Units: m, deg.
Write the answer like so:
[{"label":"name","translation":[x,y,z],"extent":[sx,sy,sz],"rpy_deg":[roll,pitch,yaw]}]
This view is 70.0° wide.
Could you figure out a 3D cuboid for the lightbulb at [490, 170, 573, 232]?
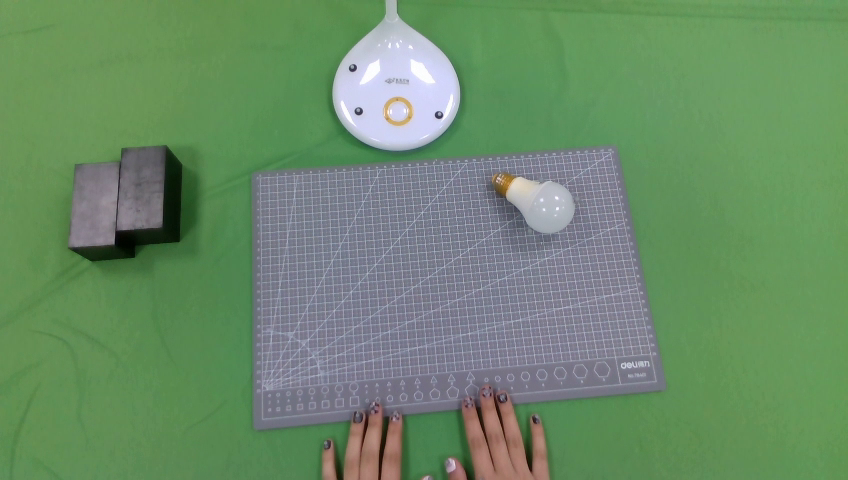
[{"label":"lightbulb","translation":[0.123,-0.050,0.708],"extent":[0.107,0.060,0.059],"rpy_deg":[33,74,25]}]

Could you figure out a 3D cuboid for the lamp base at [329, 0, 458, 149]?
[{"label":"lamp base","translation":[-0.039,-0.223,0.690],"extent":[0.161,0.181,0.178],"rpy_deg":[-10,70,-5]}]
